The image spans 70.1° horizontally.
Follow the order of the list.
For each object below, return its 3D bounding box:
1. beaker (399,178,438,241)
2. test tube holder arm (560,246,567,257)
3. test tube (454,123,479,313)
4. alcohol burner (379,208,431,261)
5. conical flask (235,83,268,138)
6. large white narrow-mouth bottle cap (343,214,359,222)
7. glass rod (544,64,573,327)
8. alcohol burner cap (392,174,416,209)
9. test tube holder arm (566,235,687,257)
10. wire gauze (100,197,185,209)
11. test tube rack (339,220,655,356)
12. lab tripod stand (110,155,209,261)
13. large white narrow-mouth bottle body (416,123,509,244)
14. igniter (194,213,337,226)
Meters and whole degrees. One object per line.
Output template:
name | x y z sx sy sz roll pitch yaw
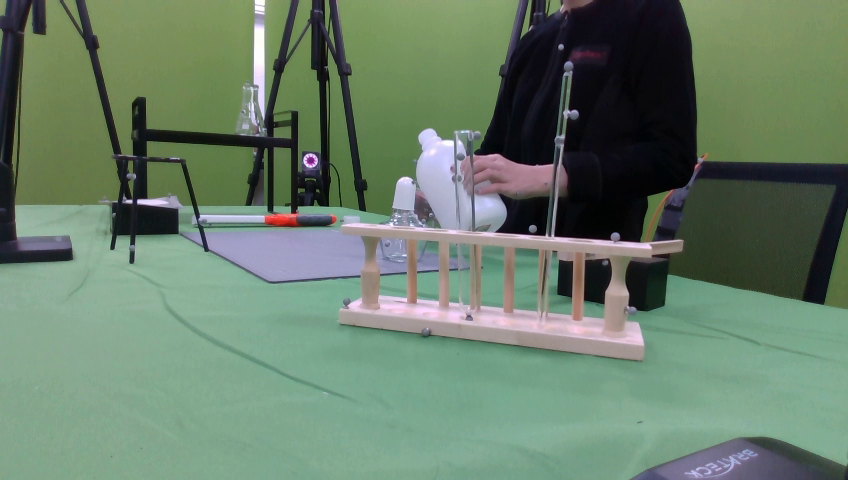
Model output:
beaker | -0.007 -0.054 1.072 0.074 0.100 0.083 -5 18 -30
test tube holder arm | 0.173 0.007 0.611 0.088 0.015 0.010 -3 9 -30
test tube | 0.034 -0.016 0.477 0.017 0.150 0.017 -2 9 1
alcohol burner | -0.027 -0.031 0.838 0.078 0.119 0.078 0 6 0
conical flask | -0.402 -0.299 1.406 0.075 0.122 0.075 2 7 0
large white narrow-mouth bottle cap | -0.155 -0.043 1.282 0.038 0.024 0.037 2 8 0
glass rod | 0.101 -0.028 0.453 0.008 0.199 0.008 2 14 0
alcohol burner cap | -0.025 -0.067 0.834 0.034 0.048 0.034 8 7 -1
test tube holder arm | 0.215 0.006 0.630 0.179 0.015 0.013 -3 9 -31
wire gauze | -0.469 -0.062 1.008 0.126 0.011 0.121 -2 8 -25
test tube rack | 0.056 0.032 0.495 0.242 0.085 0.067 4 7 15
lab tripod stand | -0.361 -0.046 0.806 0.148 0.131 0.148 2 5 0
large white narrow-mouth bottle body | 0.046 -0.098 0.939 0.102 0.194 0.102 -25 -18 -8
igniter | -0.306 -0.041 1.197 0.278 0.025 0.057 -2 -2 -30
